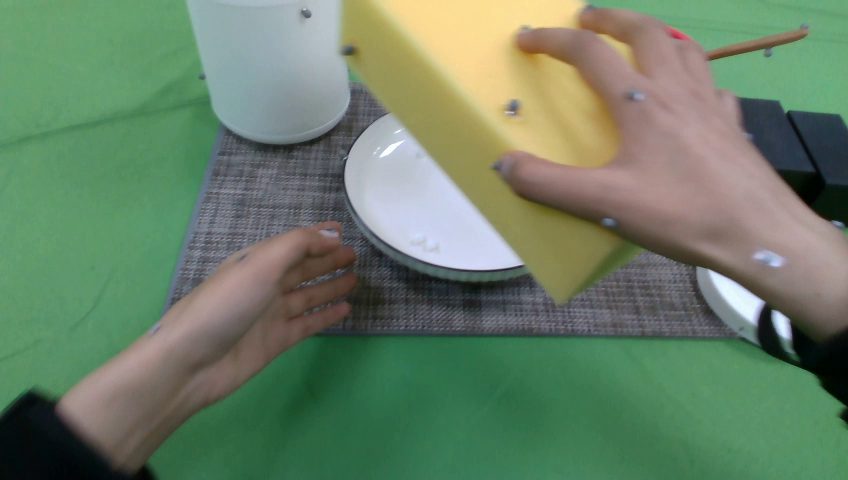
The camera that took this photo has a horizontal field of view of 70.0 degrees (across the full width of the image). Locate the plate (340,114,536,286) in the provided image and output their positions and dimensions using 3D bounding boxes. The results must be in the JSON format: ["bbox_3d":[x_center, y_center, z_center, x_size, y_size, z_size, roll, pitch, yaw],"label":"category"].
[{"bbox_3d":[0.035,-0.040,0.515,0.209,0.038,0.207,3,49,-3],"label":"plate"}]

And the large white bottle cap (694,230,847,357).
[{"bbox_3d":[0.276,0.040,0.484,0.115,0.018,0.113,4,50,-5],"label":"large white bottle cap"}]

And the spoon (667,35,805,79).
[{"bbox_3d":[0.243,-0.155,0.563,0.041,0.193,0.022,-48,113,-36],"label":"spoon"}]

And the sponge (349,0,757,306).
[{"bbox_3d":[0.064,-0.078,0.347,0.118,0.061,0.205,-30,69,-27],"label":"sponge"}]

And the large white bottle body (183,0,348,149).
[{"bbox_3d":[-0.135,-0.188,0.529,0.131,0.186,0.129,2,49,-2],"label":"large white bottle body"}]
